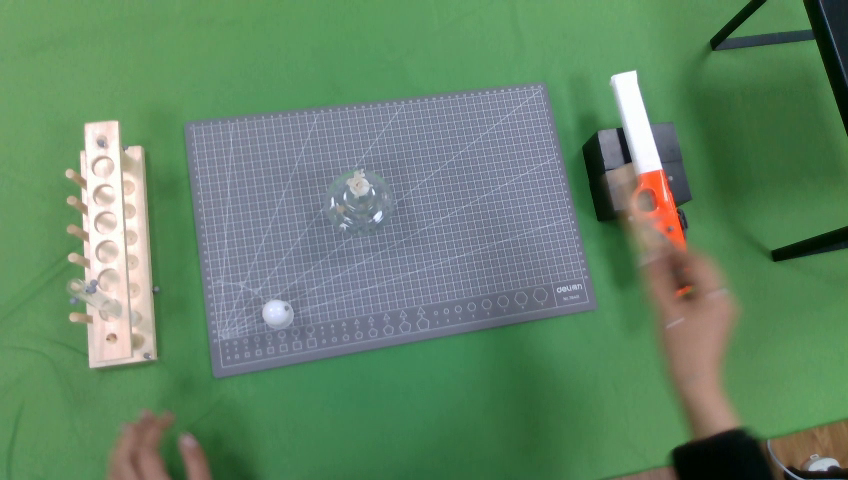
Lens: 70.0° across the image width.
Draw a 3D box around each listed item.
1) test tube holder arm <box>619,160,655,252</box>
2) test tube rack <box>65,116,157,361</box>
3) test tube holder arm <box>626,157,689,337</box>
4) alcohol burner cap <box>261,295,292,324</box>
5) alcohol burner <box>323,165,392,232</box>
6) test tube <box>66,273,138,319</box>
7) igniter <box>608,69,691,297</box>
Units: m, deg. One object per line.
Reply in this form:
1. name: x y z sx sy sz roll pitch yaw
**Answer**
1. test tube holder arm: 0.200 -0.031 0.562 0.010 0.015 0.088 -23 98 -24
2. test tube rack: -0.335 0.001 0.638 0.067 0.085 0.241 -7 80 -8
3. test tube holder arm: 0.220 0.009 0.571 0.013 0.015 0.179 -24 99 -24
4. alcohol burner cap: -0.164 0.075 0.665 0.034 0.048 0.033 2 78 -8
5. alcohol burner: -0.073 -0.050 0.666 0.078 0.119 0.077 1 80 -6
6. test tube: -0.304 0.056 0.580 0.017 0.151 0.017 2 72 -7
7. igniter: 0.265 -0.070 0.714 0.057 0.025 0.275 -11 80 3
